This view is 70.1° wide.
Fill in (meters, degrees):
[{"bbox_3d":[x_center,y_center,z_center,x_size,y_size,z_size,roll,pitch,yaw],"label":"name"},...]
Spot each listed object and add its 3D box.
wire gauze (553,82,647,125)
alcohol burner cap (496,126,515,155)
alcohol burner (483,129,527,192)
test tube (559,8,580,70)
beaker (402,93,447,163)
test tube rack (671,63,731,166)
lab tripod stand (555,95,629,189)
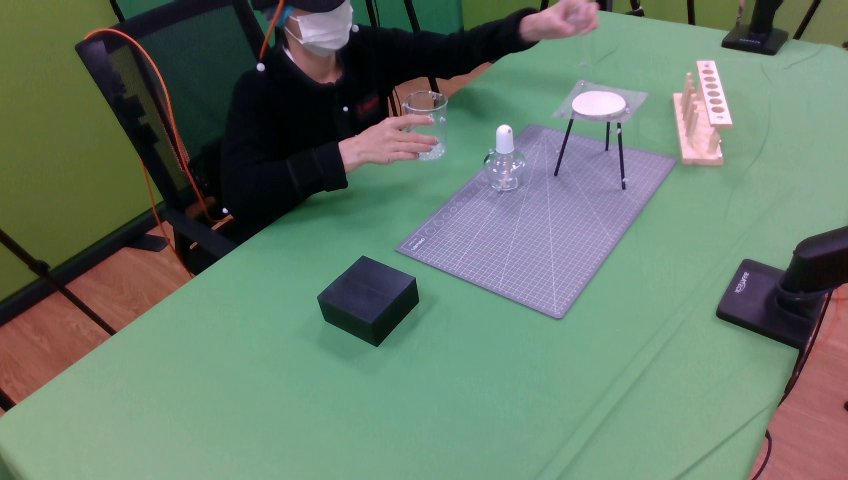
[{"bbox_3d":[0.293,-0.225,1.002,0.120,0.011,0.125,17,45,27],"label":"wire gauze"},{"bbox_3d":[0.138,-0.172,1.028,0.034,0.048,0.033,-5,38,4],"label":"alcohol burner cap"},{"bbox_3d":[0.141,-0.144,1.050,0.078,0.119,0.077,-4,42,4],"label":"alcohol burner"},{"bbox_3d":[0.258,-0.351,1.067,0.017,0.151,0.017,-9,65,19],"label":"test tube"},{"bbox_3d":[0.004,-0.191,1.031,0.073,0.100,0.084,15,41,20],"label":"beaker"},{"bbox_3d":[0.513,-0.241,1.132,0.066,0.085,0.242,4,41,14],"label":"test tube rack"},{"bbox_3d":[0.300,-0.174,1.045,0.148,0.132,0.147,-5,38,5],"label":"lab tripod stand"}]
